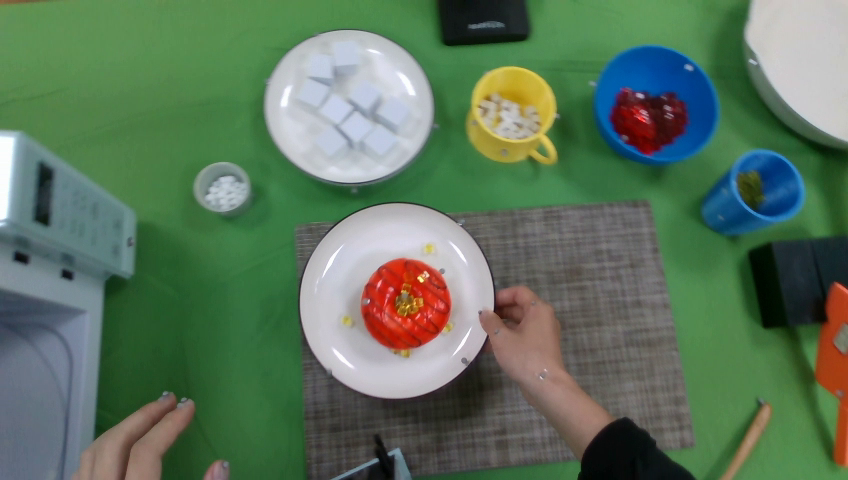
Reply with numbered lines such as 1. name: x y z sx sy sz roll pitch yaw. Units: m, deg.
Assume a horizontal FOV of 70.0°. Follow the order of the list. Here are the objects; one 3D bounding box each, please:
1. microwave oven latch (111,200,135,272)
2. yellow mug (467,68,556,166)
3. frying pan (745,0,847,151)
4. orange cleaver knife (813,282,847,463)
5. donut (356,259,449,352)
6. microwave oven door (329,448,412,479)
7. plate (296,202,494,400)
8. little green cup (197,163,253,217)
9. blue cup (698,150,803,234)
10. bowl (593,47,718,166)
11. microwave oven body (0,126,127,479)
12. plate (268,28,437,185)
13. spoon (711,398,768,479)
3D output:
1. microwave oven latch: -0.347 -0.004 0.689 0.030 0.029 0.079 0 78 -4
2. yellow mug: 0.119 -0.143 0.756 0.100 0.064 0.130 -41 83 -12
3. frying pan: 0.563 -0.150 0.766 0.307 0.103 0.484 1 69 -2
4. orange cleaver knife: 0.481 0.155 0.703 0.012 0.076 0.212 -5 106 -4
5. donut: -0.022 0.069 0.639 0.099 0.048 0.099 0 88 -7
6. microwave oven door: -0.177 0.285 0.530 0.356 0.244 0.039 -23 78 -8
7. plate: -0.030 0.064 0.649 0.209 0.038 0.208 1 85 -6
8. little green cup: -0.236 -0.057 0.726 0.061 0.039 0.061 1 78 -4
9. blue cup: 0.384 -0.049 0.732 0.093 0.100 0.092 1 75 -3
10. bowl: 0.278 -0.155 0.763 0.151 0.077 0.150 1 77 -3
11. microwave oven body: -0.484 0.148 0.546 0.326 0.261 0.439 -1 78 -4
12. plate: -0.088 -0.164 0.762 0.208 0.039 0.206 1 77 -3
13. spoon: 0.350 0.262 0.700 0.041 0.022 0.193 37 77 17
